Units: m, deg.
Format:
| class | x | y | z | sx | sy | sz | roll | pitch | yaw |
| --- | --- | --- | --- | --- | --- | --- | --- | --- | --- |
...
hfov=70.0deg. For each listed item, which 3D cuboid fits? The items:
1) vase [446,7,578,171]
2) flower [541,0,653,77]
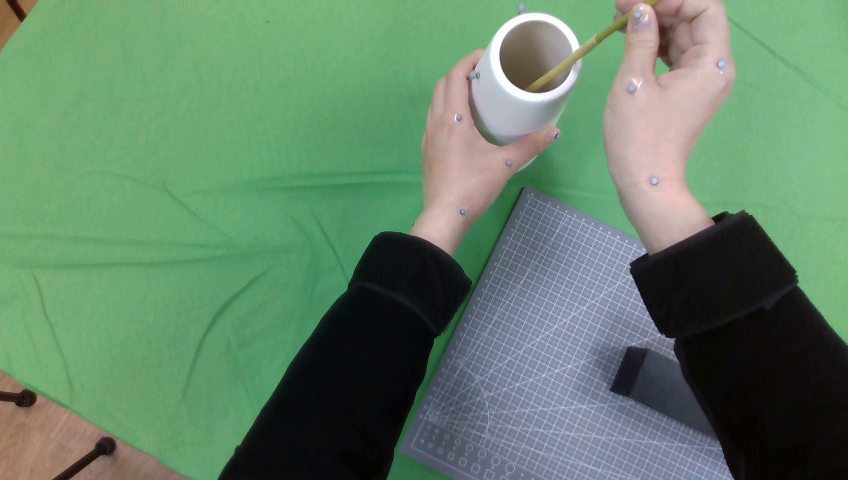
| class | x | y | z | sx | sy | sz | roll | pitch | yaw |
| --- | --- | --- | --- | --- | --- | --- | --- | --- | --- |
| vase | 0.076 | -0.128 | 0.541 | 0.098 | 0.200 | 0.098 | 1 | 83 | -5 |
| flower | 0.129 | -0.144 | 0.377 | 0.038 | 0.361 | 0.044 | 16 | 76 | -19 |
